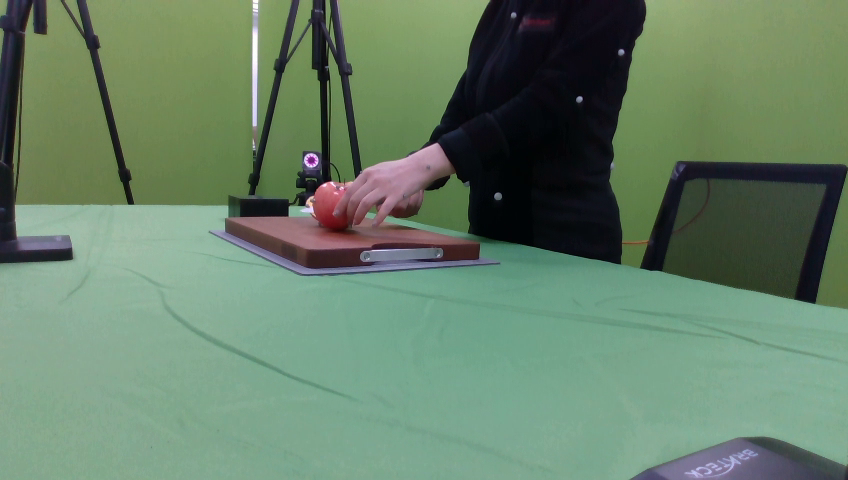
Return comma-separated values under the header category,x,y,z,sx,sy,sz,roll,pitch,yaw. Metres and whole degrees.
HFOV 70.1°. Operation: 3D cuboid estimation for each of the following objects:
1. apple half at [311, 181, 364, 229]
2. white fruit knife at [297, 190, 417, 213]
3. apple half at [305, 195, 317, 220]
category,x,y,z,sx,sy,sz,roll,pitch,yaw
apple half,-0.130,-0.049,0.941,0.081,0.074,0.053,0,42,-43
white fruit knife,-0.111,-0.064,1.019,0.208,0.016,0.027,-10,45,-25
apple half,-0.157,-0.045,1.009,0.081,0.033,0.081,8,43,-7
